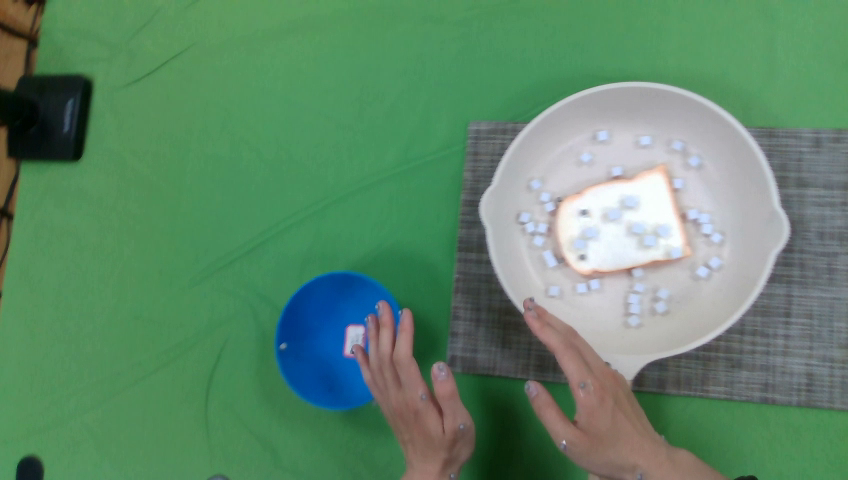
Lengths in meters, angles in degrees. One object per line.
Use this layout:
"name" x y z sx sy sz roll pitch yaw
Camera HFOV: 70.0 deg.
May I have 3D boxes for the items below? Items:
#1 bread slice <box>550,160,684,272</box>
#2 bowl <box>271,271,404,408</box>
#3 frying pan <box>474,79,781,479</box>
"bread slice" 0.211 -0.018 0.681 0.134 0.018 0.106 -18 80 6
"bowl" -0.089 0.113 0.699 0.151 0.077 0.151 -1 83 10
"frying pan" 0.194 0.076 0.632 0.306 0.103 0.485 6 76 12
